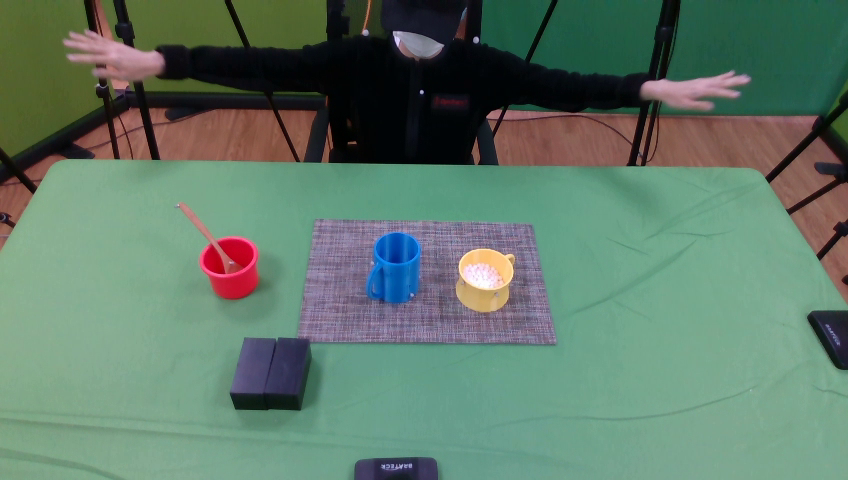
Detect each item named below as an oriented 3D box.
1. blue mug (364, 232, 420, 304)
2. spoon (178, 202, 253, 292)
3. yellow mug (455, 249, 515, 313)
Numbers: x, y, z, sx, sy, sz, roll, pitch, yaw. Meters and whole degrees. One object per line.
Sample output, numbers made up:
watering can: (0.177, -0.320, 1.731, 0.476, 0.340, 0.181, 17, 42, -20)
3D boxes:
blue mug: (-0.062, 0.059, 1.074, 0.082, 0.106, 0.116, 35, 53, 27)
spoon: (-0.370, 0.012, 1.074, 0.041, 0.021, 0.194, -41, 105, -31)
yellow mug: (0.120, 0.066, 1.108, 0.131, 0.064, 0.099, -31, 55, -31)
